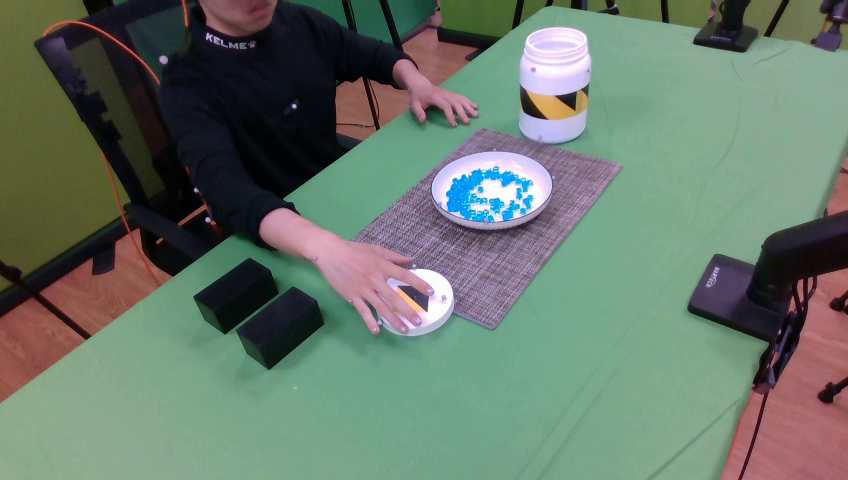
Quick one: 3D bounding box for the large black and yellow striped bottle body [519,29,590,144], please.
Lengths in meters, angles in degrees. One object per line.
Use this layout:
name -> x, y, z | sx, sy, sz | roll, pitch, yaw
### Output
large black and yellow striped bottle body -> 0.246, -0.291, 1.149 | 0.131, 0.185, 0.130 | -4, 41, 4

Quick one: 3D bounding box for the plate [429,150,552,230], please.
plate -> 0.113, -0.082, 1.032 | 0.207, 0.039, 0.206 | -4, 41, 4

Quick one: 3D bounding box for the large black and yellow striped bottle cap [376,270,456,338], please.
large black and yellow striped bottle cap -> -0.012, 0.089, 0.868 | 0.115, 0.019, 0.114 | -6, 43, 6
